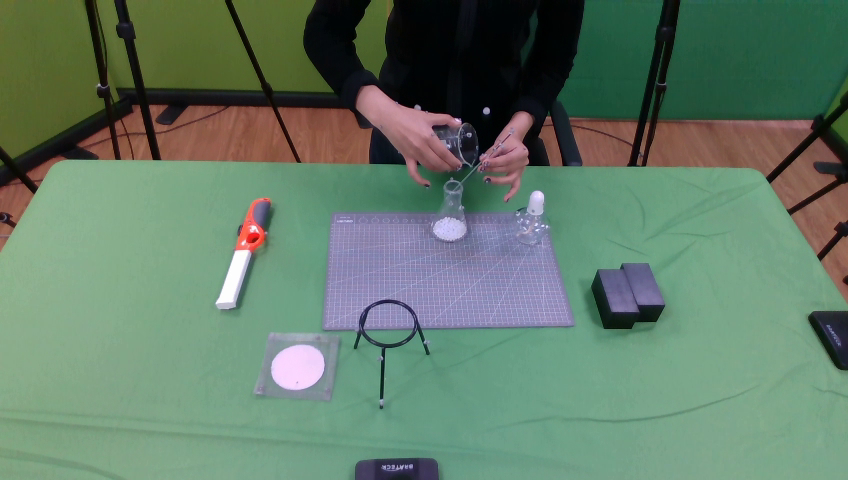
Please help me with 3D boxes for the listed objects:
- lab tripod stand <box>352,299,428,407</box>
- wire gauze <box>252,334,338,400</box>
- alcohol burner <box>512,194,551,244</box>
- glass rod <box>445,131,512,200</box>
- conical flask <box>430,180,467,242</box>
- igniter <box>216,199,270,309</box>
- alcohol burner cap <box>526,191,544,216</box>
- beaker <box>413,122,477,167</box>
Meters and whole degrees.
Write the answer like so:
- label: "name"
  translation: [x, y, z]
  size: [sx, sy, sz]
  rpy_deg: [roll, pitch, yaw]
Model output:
- label: "lab tripod stand"
  translation: [-0.056, 0.166, 0.958]
  size: [0.148, 0.132, 0.147]
  rpy_deg: [3, 44, -2]
- label: "wire gauze"
  translation: [-0.209, 0.204, 0.996]
  size: [0.125, 0.011, 0.120]
  rpy_deg: [3, 45, 1]
- label: "alcohol burner"
  translation: [0.215, -0.048, 1.196]
  size: [0.078, 0.119, 0.077]
  rpy_deg: [4, 46, -4]
- label: "glass rod"
  translation: [0.096, -0.131, 1.103]
  size: [0.008, 0.200, 0.008]
  rpy_deg: [22, 46, -24]
- label: "conical flask"
  translation: [0.052, -0.060, 1.188]
  size: [0.075, 0.122, 0.075]
  rpy_deg: [2, 46, -2]
- label: "igniter"
  translation: [-0.342, 0.016, 1.153]
  size: [0.057, 0.025, 0.275]
  rpy_deg: [-3, 45, 7]
- label: "alcohol burner cap"
  translation: [0.216, -0.073, 1.170]
  size: [0.034, 0.048, 0.033]
  rpy_deg: [0, 43, 1]
- label: "beaker"
  translation: [0.038, -0.170, 1.109]
  size: [0.100, 0.084, 0.074]
  rpy_deg: [0, 30, 33]
